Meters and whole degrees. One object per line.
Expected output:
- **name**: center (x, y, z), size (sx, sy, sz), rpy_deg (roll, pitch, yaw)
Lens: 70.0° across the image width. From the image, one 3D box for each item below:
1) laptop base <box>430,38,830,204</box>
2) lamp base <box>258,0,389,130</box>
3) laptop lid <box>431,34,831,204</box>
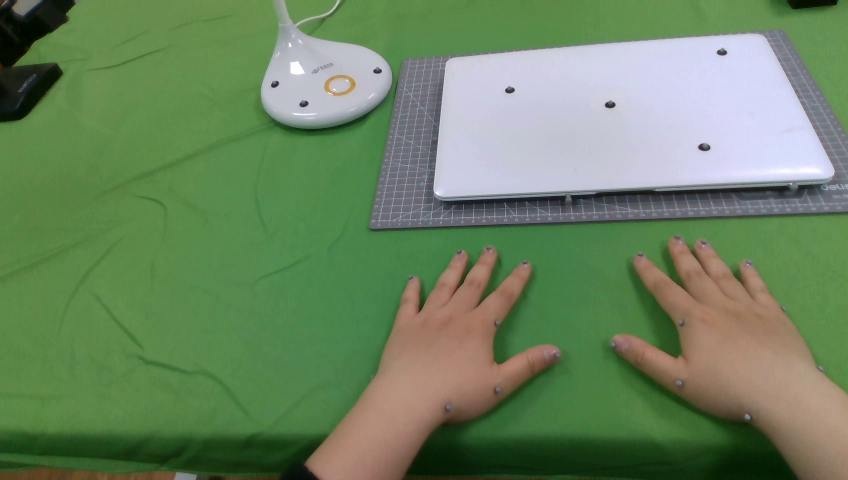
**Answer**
- **laptop base**: center (0.188, -0.124, 0.626), size (0.354, 0.023, 0.233), rpy_deg (-2, 50, 8)
- **lamp base**: center (-0.141, -0.242, 0.686), size (0.177, 0.182, 0.160), rpy_deg (31, 59, 35)
- **laptop lid**: center (0.186, -0.130, 0.616), size (0.356, 0.013, 0.239), rpy_deg (-1, 49, 10)
